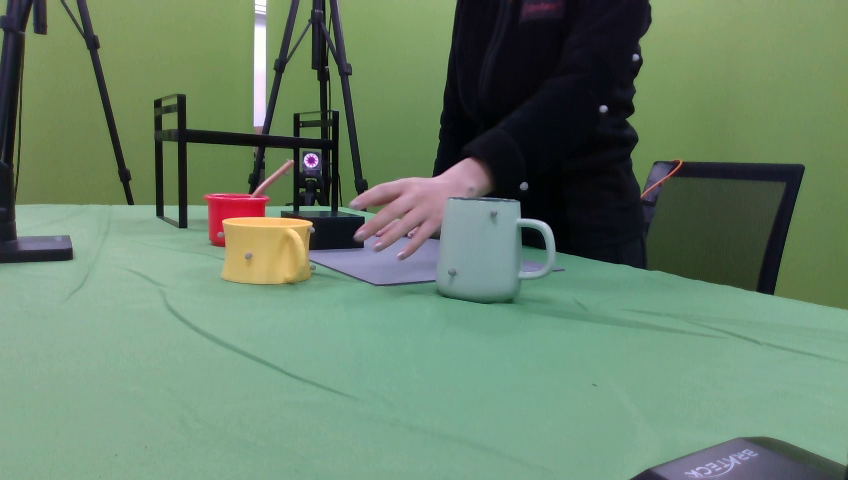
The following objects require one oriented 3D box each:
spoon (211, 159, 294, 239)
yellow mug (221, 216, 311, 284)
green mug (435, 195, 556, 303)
[{"bbox_3d":[-0.270,-0.069,0.970,0.041,0.022,0.194,6,52,42],"label":"spoon"},{"bbox_3d":[-0.171,0.011,0.685,0.100,0.064,0.130,-4,10,-42],"label":"yellow mug"},{"bbox_3d":[0.074,0.009,0.623,0.125,0.105,0.093,5,7,24],"label":"green mug"}]
